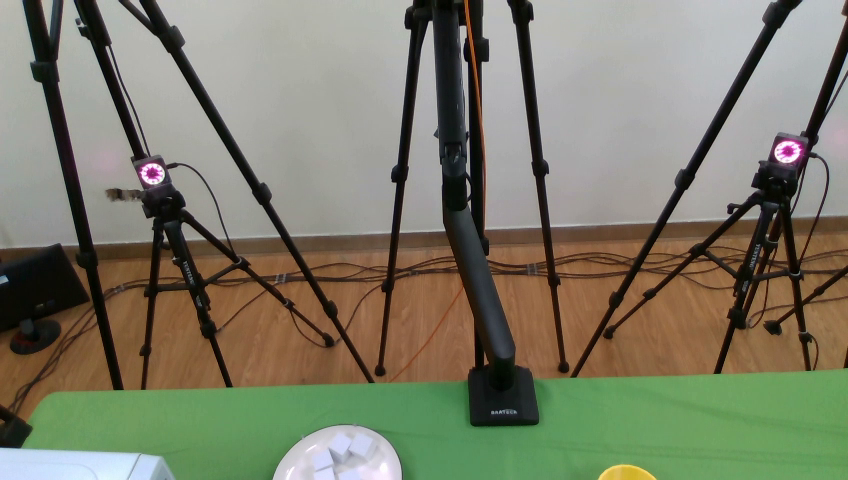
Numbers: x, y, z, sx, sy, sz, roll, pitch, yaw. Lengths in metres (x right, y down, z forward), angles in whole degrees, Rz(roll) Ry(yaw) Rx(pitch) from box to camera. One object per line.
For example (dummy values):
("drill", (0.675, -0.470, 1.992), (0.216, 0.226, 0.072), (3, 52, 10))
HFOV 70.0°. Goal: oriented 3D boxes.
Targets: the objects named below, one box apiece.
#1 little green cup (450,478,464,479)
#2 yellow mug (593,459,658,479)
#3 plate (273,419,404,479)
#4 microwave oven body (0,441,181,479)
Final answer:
("little green cup", (0.050, 0.401, 0.925), (0.061, 0.039, 0.061), (-2, 39, 2))
("yellow mug", (0.284, 0.385, 0.903), (0.130, 0.064, 0.099), (5, 40, 11))
("plate", (-0.134, 0.382, 0.963), (0.207, 0.039, 0.205), (-2, 39, 2))
("microwave oven body", (-0.494, 0.486, 0.678), (0.326, 0.262, 0.437), (1, 40, 5))
